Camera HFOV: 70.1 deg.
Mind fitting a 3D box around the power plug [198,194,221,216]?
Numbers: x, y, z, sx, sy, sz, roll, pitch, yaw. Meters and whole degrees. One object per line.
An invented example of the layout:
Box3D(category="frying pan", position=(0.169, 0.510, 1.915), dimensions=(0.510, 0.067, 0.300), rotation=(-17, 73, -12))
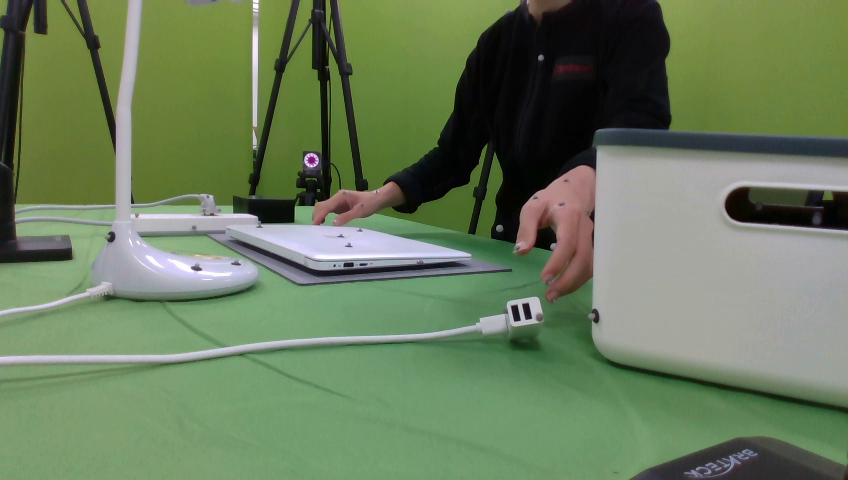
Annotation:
Box3D(category="power plug", position=(-0.385, -0.056, 1.088), dimensions=(0.035, 0.052, 0.072), rotation=(-1, 7, -23))

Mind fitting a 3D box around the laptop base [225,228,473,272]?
Box3D(category="laptop base", position=(-0.125, 0.011, 0.889), dimensions=(0.237, 0.023, 0.352), rotation=(1, 7, -35))

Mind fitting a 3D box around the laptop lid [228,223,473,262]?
Box3D(category="laptop lid", position=(-0.123, -0.001, 0.888), dimensions=(0.243, 0.013, 0.355), rotation=(1, 7, -33))

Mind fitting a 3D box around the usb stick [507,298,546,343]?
Box3D(category="usb stick", position=(0.079, 0.065, 0.470), dimensions=(0.027, 0.021, 0.059), rotation=(-12, -24, 4))

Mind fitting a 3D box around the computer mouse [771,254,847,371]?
Box3D(category="computer mouse", position=(0.344, 0.057, 0.519), dimensions=(0.063, 0.041, 0.117), rotation=(12, 47, 3))

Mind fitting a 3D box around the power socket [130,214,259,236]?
Box3D(category="power socket", position=(-0.397, -0.028, 1.048), dimensions=(0.228, 0.032, 0.072), rotation=(-3, 7, -35))

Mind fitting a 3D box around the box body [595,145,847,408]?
Box3D(category="box body", position=(0.309, 0.007, 0.510), dimensions=(0.253, 0.160, 0.366), rotation=(6, 8, 29))

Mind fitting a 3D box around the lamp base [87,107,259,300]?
Box3D(category="lamp base", position=(-0.254, -0.039, 0.603), dimensions=(0.160, 0.180, 0.179), rotation=(5, 10, 18))

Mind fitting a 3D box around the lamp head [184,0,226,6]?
Box3D(category="lamp head", position=(-0.229, -0.320, 0.627), dimensions=(0.112, 0.112, 0.123), rotation=(6, -36, 26))

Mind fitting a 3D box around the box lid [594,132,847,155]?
Box3D(category="box lid", position=(0.310, -0.066, 0.499), dimensions=(0.262, 0.015, 0.373), rotation=(7, 8, 29))
